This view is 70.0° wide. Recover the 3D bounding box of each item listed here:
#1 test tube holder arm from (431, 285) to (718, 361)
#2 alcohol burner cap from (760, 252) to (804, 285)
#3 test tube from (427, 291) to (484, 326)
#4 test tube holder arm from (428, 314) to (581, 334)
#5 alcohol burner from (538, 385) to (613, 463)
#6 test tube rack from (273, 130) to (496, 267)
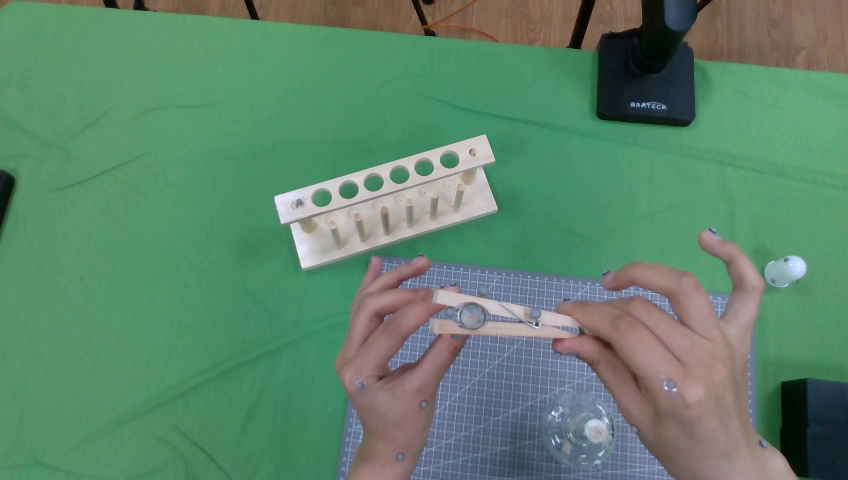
[{"bbox_3d":[0.091,0.049,0.354,0.179,0.015,0.013,12,85,-10],"label":"test tube holder arm"},{"bbox_3d":[0.415,0.031,0.697,0.034,0.048,0.033,0,73,1],"label":"alcohol burner cap"},{"bbox_3d":[0.018,0.044,0.407,0.017,0.150,0.017,0,88,-7],"label":"test tube"},{"bbox_3d":[0.046,0.048,0.345,0.088,0.015,0.010,2,86,-11],"label":"test tube holder arm"},{"bbox_3d":[0.157,0.186,0.612,0.078,0.119,0.077,0,75,-1],"label":"alcohol burner"},{"bbox_3d":[-0.038,-0.045,0.692,0.242,0.085,0.066,-17,74,-5],"label":"test tube rack"}]
